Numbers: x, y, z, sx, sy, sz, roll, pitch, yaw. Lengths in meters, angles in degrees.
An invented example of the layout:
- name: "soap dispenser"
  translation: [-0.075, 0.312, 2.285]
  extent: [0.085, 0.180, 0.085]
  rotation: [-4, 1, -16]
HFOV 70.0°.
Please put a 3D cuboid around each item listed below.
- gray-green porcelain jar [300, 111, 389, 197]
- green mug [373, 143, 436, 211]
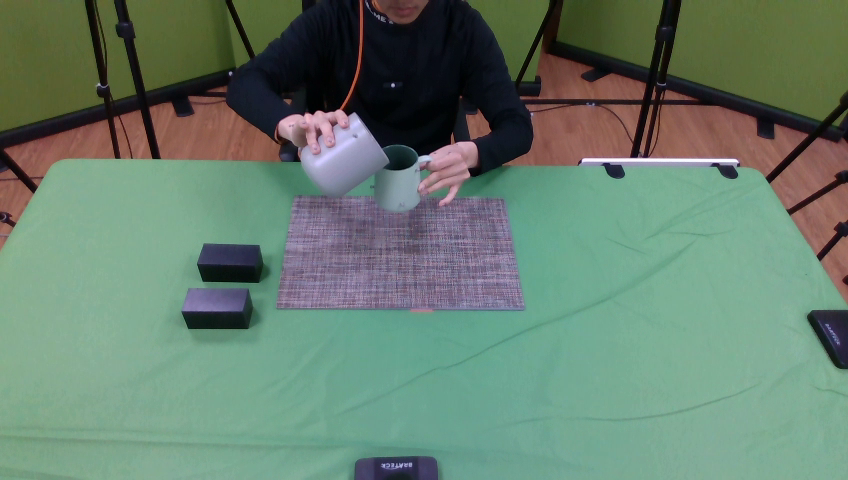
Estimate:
- name: "gray-green porcelain jar"
  translation: [-0.141, -0.144, 1.045]
  extent: [0.126, 0.106, 0.105]
  rotation: [-35, 52, 5]
- name: "green mug"
  translation: [-0.035, -0.121, 1.136]
  extent: [0.125, 0.105, 0.092]
  rotation: [-20, 49, -19]
